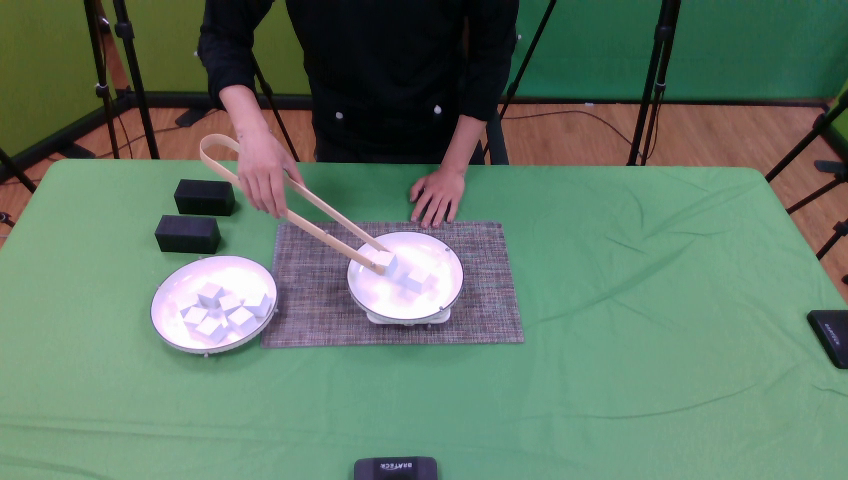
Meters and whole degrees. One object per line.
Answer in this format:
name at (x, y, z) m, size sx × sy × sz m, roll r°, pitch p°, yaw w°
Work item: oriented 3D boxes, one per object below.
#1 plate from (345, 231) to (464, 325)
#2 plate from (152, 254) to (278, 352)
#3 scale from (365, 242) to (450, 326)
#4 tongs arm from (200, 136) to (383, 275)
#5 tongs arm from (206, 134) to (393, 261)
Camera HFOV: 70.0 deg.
plate at (-0.034, 0.069, 1.069) m, size 0.209 × 0.038 × 0.208 m, roll 2°, pitch 46°, yaw -2°
plate at (-0.357, 0.111, 1.052) m, size 0.208 × 0.039 × 0.206 m, roll 2°, pitch 46°, yaw -2°
scale at (-0.032, 0.071, 1.113) m, size 0.149 × 0.032 × 0.199 m, roll 0°, pitch 46°, yaw -4°
tongs arm at (-0.227, -0.059, 1.041) m, size 0.385 × 0.026 × 0.050 m, roll 31°, pitch 56°, yaw 1°
tongs arm at (-0.215, -0.075, 1.054) m, size 0.387 × 0.028 × 0.028 m, roll 34°, pitch 60°, yaw 3°
